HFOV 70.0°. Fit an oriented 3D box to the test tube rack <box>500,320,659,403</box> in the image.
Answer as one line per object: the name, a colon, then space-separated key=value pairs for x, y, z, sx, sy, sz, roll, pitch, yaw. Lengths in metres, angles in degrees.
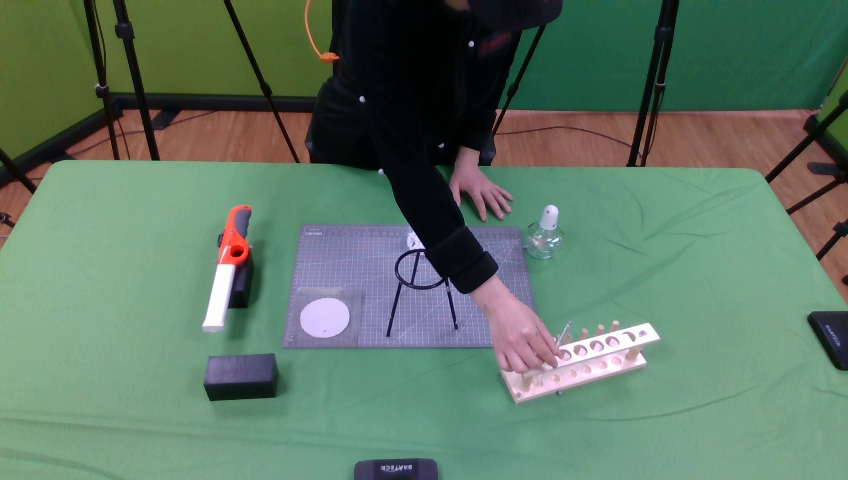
test tube rack: x=0.253 y=0.187 z=0.994 sx=0.243 sy=0.085 sz=0.066 roll=-12 pitch=48 yaw=-15

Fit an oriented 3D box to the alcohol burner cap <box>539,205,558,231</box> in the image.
alcohol burner cap: x=0.239 y=-0.045 z=1.148 sx=0.034 sy=0.048 sz=0.033 roll=2 pitch=43 yaw=-1

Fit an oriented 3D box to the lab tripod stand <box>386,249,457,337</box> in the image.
lab tripod stand: x=-0.010 y=0.087 z=1.032 sx=0.148 sy=0.132 sz=0.147 roll=1 pitch=45 yaw=-1

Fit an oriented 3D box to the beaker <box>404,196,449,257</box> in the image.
beaker: x=0.002 y=-0.023 z=1.164 sx=0.084 sy=0.101 sz=0.073 roll=6 pitch=46 yaw=0

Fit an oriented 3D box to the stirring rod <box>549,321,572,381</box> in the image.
stirring rod: x=0.202 y=0.168 z=0.900 sx=0.006 sy=0.177 sz=0.014 roll=-16 pitch=54 yaw=-10

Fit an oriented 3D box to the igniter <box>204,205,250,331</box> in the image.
igniter: x=-0.344 y=0.039 z=1.064 sx=0.057 sy=0.025 sz=0.274 roll=2 pitch=48 yaw=-6

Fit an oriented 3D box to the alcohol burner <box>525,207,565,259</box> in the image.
alcohol burner: x=0.236 y=-0.020 z=1.174 sx=0.078 sy=0.120 sz=0.077 roll=1 pitch=48 yaw=-1

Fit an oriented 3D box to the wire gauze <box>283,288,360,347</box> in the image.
wire gauze: x=-0.177 y=0.132 z=1.062 sx=0.125 sy=0.011 sz=0.120 roll=2 pitch=47 yaw=1
